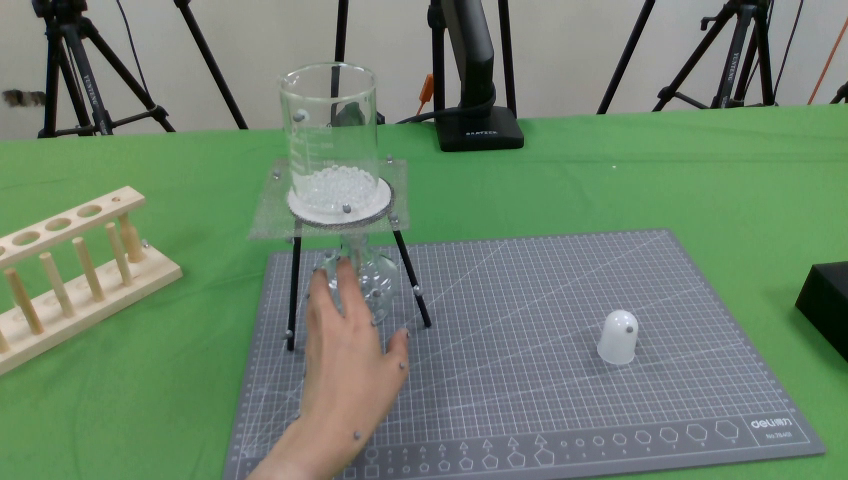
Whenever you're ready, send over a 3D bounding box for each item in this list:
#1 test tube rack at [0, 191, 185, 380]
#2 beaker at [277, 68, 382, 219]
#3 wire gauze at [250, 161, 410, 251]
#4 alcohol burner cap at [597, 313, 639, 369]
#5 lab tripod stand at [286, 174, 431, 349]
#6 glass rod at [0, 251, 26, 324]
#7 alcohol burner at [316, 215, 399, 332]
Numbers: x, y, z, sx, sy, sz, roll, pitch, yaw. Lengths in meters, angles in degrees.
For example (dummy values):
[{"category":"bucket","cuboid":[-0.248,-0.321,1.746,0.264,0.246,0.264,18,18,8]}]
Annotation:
[{"category":"test tube rack","cuboid":[-0.352,0.049,0.549,0.066,0.086,0.242,26,43,33]},{"category":"beaker","cuboid":[-0.074,-0.075,0.475,0.083,0.101,0.074,21,40,24]},{"category":"wire gauze","cuboid":[-0.073,-0.034,0.502,0.121,0.011,0.124,-2,38,-2]},{"category":"alcohol burner cap","cuboid":[0.171,0.085,0.525,0.034,0.048,0.033,0,36,1]},{"category":"lab tripod stand","cuboid":[-0.064,0.018,0.543,0.148,0.132,0.147,1,34,0]},{"category":"glass rod","cuboid":[-0.375,-0.011,0.519,0.008,0.201,0.008,0,28,0]},{"category":"alcohol burner","cuboid":[-0.061,0.026,0.549,0.078,0.120,0.077,1,37,0]}]
